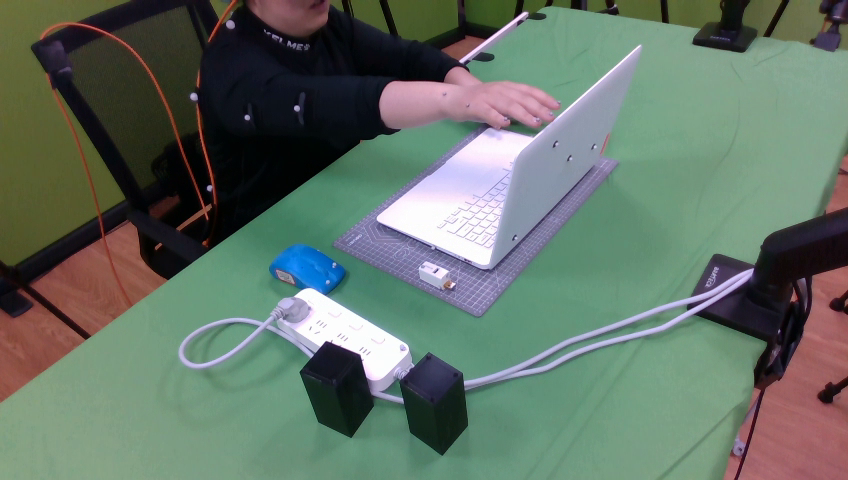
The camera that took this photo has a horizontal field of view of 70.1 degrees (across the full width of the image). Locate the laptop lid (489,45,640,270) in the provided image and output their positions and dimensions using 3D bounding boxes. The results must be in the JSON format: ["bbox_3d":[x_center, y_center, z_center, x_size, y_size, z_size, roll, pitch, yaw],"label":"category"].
[{"bbox_3d":[0.214,-0.125,0.907,0.013,0.242,0.358,33,52,22],"label":"laptop lid"}]

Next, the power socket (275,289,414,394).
[{"bbox_3d":[-0.115,0.132,0.820,0.225,0.033,0.072,25,49,32],"label":"power socket"}]

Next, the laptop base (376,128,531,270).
[{"bbox_3d":[0.115,-0.086,1.057,0.233,0.023,0.355,21,48,34],"label":"laptop base"}]

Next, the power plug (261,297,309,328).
[{"bbox_3d":[-0.193,0.107,0.831,0.073,0.053,0.035,-32,44,-24],"label":"power plug"}]

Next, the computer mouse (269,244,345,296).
[{"bbox_3d":[-0.182,0.044,0.932,0.116,0.041,0.063,23,47,26],"label":"computer mouse"}]

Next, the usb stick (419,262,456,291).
[{"bbox_3d":[0.022,0.056,0.891,0.058,0.027,0.021,25,49,32],"label":"usb stick"}]
